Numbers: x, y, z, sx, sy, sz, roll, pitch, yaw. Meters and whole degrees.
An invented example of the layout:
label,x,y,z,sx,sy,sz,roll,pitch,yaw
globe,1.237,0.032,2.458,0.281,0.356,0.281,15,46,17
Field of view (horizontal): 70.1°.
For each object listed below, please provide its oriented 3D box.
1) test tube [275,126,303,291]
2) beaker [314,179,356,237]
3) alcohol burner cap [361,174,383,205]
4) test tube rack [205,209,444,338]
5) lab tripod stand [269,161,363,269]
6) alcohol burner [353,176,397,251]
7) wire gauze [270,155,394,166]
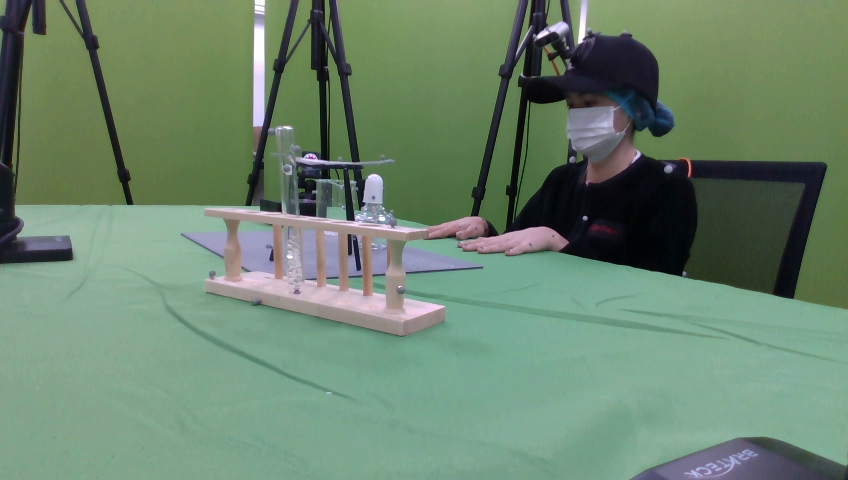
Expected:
label,x,y,z,sx,sy,sz,roll,pitch,yaw
test tube,-0.123,-0.028,0.552,0.017,0.150,0.017,-2,7,1
beaker,-0.162,-0.058,1.094,0.074,0.100,0.083,0,9,-21
alcohol burner cap,-0.080,-0.078,0.944,0.034,0.048,0.034,5,8,0
test tube rack,-0.100,0.021,0.565,0.241,0.085,0.067,7,8,32
lab tripod stand,-0.125,-0.036,0.794,0.148,0.131,0.148,5,7,0
alcohol burner,-0.082,-0.043,0.950,0.078,0.119,0.078,1,8,0
wire gauze,-0.121,-0.102,0.785,0.122,0.011,0.124,-3,10,-38
